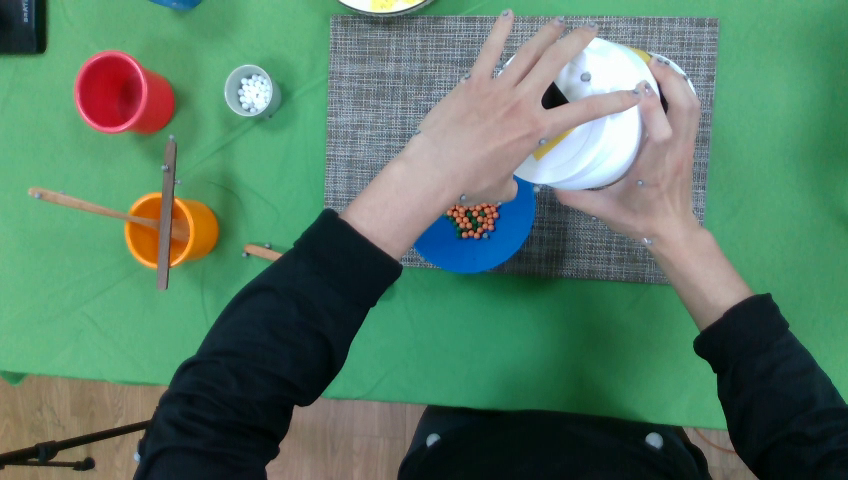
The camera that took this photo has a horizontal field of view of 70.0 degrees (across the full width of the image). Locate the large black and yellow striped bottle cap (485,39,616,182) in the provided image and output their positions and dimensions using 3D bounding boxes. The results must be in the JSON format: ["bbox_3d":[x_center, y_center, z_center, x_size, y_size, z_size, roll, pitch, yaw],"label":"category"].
[{"bbox_3d":[0.100,-0.105,0.498,0.114,0.019,0.115,10,106,41],"label":"large black and yellow striped bottle cap"}]

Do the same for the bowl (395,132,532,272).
[{"bbox_3d":[0.048,-0.042,0.692,0.151,0.077,0.151,1,94,9],"label":"bowl"}]

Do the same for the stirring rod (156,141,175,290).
[{"bbox_3d":[-0.305,-0.028,0.713,0.014,0.006,0.176,5,95,7],"label":"stirring rod"}]

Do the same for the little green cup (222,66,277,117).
[{"bbox_3d":[-0.213,-0.180,0.747,0.061,0.038,0.061,1,94,10],"label":"little green cup"}]

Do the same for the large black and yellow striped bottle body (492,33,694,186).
[{"bbox_3d":[0.155,-0.117,0.561,0.130,0.185,0.131,9,104,41],"label":"large black and yellow striped bottle body"}]

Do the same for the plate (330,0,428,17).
[{"bbox_3d":[-0.048,-0.365,0.711,0.209,0.038,0.209,1,94,9],"label":"plate"}]

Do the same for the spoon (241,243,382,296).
[{"bbox_3d":[-0.143,0.031,0.759,0.193,0.021,0.042,14,109,7],"label":"spoon"}]

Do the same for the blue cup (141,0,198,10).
[{"bbox_3d":[-0.319,-0.320,0.723,0.092,0.100,0.092,1,94,11],"label":"blue cup"}]

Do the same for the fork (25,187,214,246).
[{"bbox_3d":[-0.356,-0.028,0.724,0.209,0.018,0.028,18,100,-36],"label":"fork"}]
